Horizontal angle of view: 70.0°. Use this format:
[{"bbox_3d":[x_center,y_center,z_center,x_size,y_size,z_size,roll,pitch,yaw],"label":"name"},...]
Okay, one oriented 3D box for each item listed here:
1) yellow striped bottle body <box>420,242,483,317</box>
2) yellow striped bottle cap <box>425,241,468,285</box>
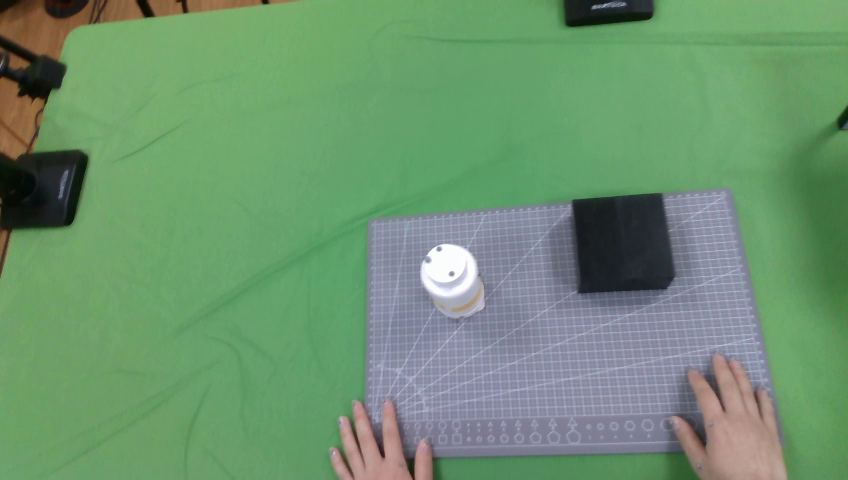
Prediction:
[{"bbox_3d":[0.032,0.043,0.684,0.063,0.121,0.062,-3,69,9],"label":"yellow striped bottle body"},{"bbox_3d":[0.023,0.024,0.636,0.044,0.019,0.044,-4,71,12],"label":"yellow striped bottle cap"}]
